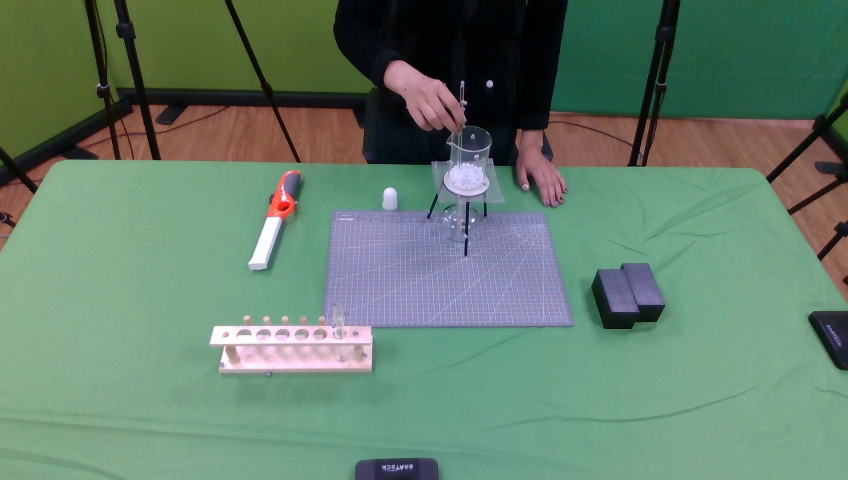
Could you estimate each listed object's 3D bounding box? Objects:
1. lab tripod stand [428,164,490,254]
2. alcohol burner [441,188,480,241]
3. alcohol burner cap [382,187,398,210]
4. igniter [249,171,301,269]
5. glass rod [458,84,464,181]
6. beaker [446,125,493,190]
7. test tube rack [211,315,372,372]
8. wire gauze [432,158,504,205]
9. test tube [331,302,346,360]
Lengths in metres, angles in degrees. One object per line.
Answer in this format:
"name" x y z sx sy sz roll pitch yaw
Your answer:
"lab tripod stand" 0.078 -0.068 1.188 0.148 0.132 0.147 3 47 -3
"alcohol burner" 0.073 -0.055 1.189 0.078 0.120 0.077 1 48 -1
"alcohol burner cap" -0.072 -0.090 1.266 0.034 0.048 0.033 2 47 -2
"igniter" -0.297 -0.049 1.220 0.057 0.025 0.275 -2 45 9
"glass rod" 0.064 -0.182 1.056 0.008 0.201 0.008 -1 44 1
"beaker" 0.079 -0.147 1.106 0.084 0.101 0.073 -3 47 -6
"test tube rack" -0.208 0.163 0.982 0.242 0.085 0.066 1 46 -4
"wire gauze" 0.081 -0.111 1.138 0.125 0.011 0.120 0 48 -7
"test tube" -0.132 0.144 0.938 0.017 0.151 0.017 2 49 -3
